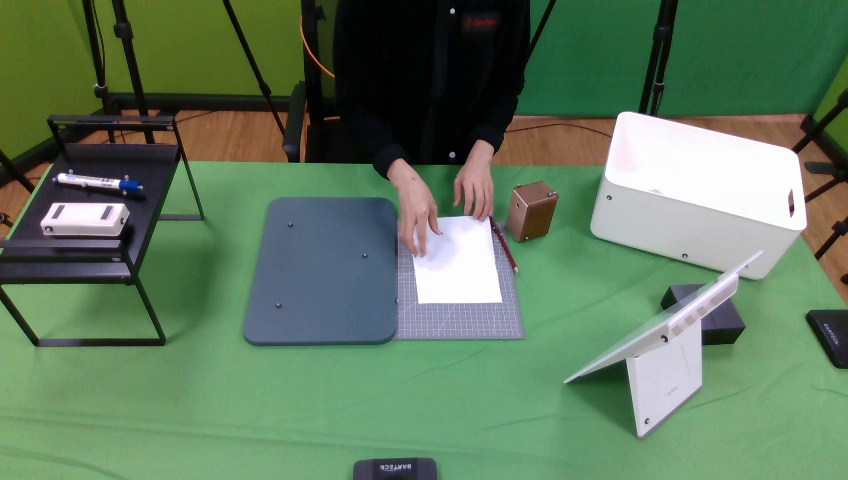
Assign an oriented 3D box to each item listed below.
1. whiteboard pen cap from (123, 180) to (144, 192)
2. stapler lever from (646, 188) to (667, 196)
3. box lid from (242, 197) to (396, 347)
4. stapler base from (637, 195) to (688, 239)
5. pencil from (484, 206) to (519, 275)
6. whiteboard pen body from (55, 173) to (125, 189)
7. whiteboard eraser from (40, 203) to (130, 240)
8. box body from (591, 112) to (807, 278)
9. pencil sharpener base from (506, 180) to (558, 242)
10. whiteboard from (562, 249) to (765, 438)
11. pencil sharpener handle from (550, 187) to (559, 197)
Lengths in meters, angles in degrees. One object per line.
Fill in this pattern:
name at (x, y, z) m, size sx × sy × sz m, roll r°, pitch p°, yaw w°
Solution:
whiteboard pen cap at (-0.479, -0.089, 0.993) m, size 0.033 × 0.018 × 0.018 m, roll 7°, pitch 46°, yaw 14°
stapler lever at (0.507, -0.075, 1.262) m, size 0.027 × 0.040 × 0.117 m, roll -14°, pitch 46°, yaw -19°
box lid at (-0.186, 0.046, 1.147) m, size 0.263 × 0.015 × 0.369 m, roll 0°, pitch 46°, yaw -3°
stapler base at (0.507, -0.055, 1.280) m, size 0.041 × 0.024 × 0.129 m, roll -14°, pitch 47°, yaw -19°
pencil at (0.156, -0.002, 1.218) m, size 0.012 × 0.012 × 0.192 m, roll -9°, pitch 48°, yaw -13°
whiteboard pen body at (-0.539, -0.095, 0.998) m, size 0.141 × 0.017 × 0.017 m, roll 7°, pitch 46°, yaw 6°
whiteboard eraser at (-0.513, -0.028, 0.922) m, size 0.113 × 0.042 × 0.055 m, roll 1°, pitch 48°, yaw -3°
box body at (0.540, -0.092, 1.229) m, size 0.363 × 0.161 × 0.253 m, roll 16°, pitch 47°, yaw 11°
pencil sharpener base at (0.216, -0.059, 1.211) m, size 0.077 × 0.107 × 0.061 m, roll -16°, pitch 49°, yaw -19°
whiteboard at (0.386, 0.175, 0.905) m, size 0.217 × 0.306 × 0.143 m, roll -26°, pitch 72°, yaw -26°
pencil sharpener handle at (0.261, -0.084, 1.221) m, size 0.031 × 0.068 × 0.036 m, roll -16°, pitch 65°, yaw -19°
